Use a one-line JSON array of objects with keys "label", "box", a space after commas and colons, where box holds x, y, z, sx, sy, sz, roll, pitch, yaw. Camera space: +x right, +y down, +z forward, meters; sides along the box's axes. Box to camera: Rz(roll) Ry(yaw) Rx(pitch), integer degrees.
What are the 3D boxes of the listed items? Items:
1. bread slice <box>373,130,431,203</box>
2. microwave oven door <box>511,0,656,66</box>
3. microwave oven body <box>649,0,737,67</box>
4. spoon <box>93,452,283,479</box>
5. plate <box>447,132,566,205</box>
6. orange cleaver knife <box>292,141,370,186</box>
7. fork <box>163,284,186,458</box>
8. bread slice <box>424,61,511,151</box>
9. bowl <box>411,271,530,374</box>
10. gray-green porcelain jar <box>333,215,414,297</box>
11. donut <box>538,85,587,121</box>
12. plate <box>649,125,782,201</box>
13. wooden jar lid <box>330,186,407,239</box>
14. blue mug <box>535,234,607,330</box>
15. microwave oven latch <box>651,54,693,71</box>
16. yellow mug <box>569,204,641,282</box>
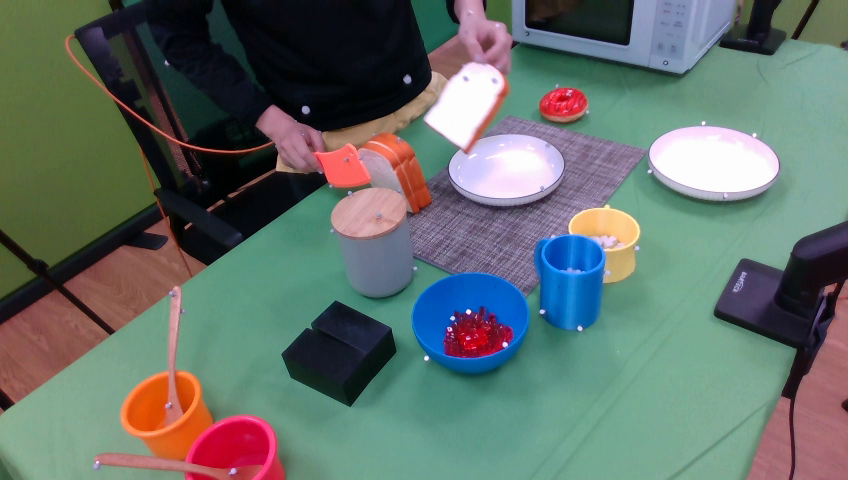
[{"label": "bread slice", "box": [-0.041, -0.127, 1.039, 0.106, 0.135, 0.018, 30, 62, 33]}, {"label": "microwave oven door", "box": [0.351, -0.539, 1.349, 0.353, 0.245, 0.039, 24, 50, 31]}, {"label": "microwave oven body", "box": [0.475, -0.602, 1.411, 0.438, 0.261, 0.327, 23, 50, 32]}, {"label": "spoon", "box": [-0.240, 0.239, 0.632, 0.195, 0.021, 0.041, 26, 33, -32]}, {"label": "plate", "box": [0.146, -0.124, 1.076, 0.209, 0.038, 0.208, -4, 41, 4]}, {"label": "orange cleaver knife", "box": [-0.160, -0.127, 1.018, 0.012, 0.077, 0.209, -34, 26, -33]}, {"label": "fork", "box": [-0.302, 0.157, 0.733, 0.028, 0.019, 0.207, -3, 84, 15]}, {"label": "bread slice", "box": [0.068, -0.214, 0.930, 0.104, 0.019, 0.131, 42, 97, 33]}, {"label": "bowl", "box": [0.061, 0.120, 0.780, 0.151, 0.077, 0.150, -4, 40, 4]}, {"label": "gray-green porcelain jar", "box": [-0.071, 0.012, 0.887, 0.106, 0.127, 0.105, -4, 41, 4]}, {"label": "donut", "box": [0.284, -0.280, 1.239, 0.099, 0.048, 0.098, -5, 42, 5]}, {"label": "plate", "box": [0.493, -0.127, 1.036, 0.207, 0.039, 0.206, -4, 41, 4]}, {"label": "wooden jar lid", "box": [-0.077, -0.035, 0.846, 0.108, 0.021, 0.108, -5, 41, 5]}, {"label": "blue mug", "box": [0.191, 0.048, 0.824, 0.082, 0.106, 0.115, -26, 44, -20]}, {"label": "microwave oven latch", "box": [0.531, -0.386, 1.301, 0.078, 0.029, 0.030, 26, 51, 34]}, {"label": "yellow mug", "box": [0.268, -0.005, 0.904, 0.099, 0.064, 0.130, 7, 41, 15]}]
